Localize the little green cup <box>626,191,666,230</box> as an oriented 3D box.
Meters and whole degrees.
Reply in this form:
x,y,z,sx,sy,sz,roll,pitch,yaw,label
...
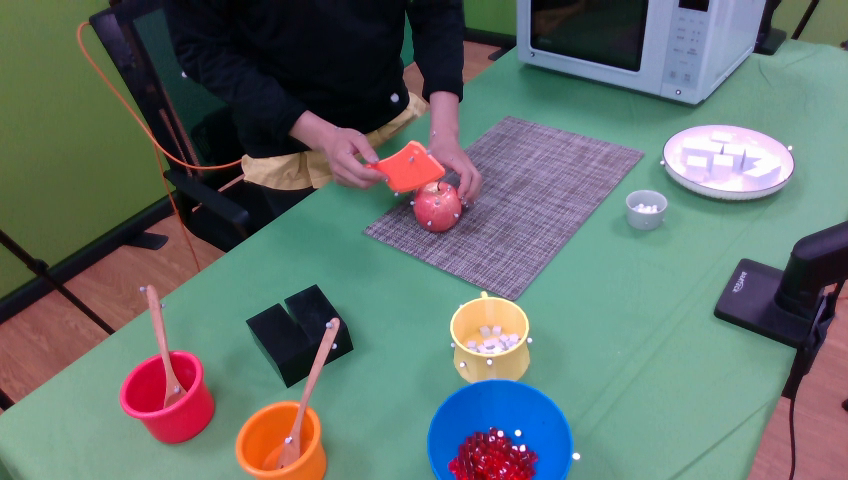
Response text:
x,y,z,sx,sy,sz,roll,pitch,yaw,label
0.352,-0.046,0.963,0.061,0.039,0.061,-4,40,4,little green cup

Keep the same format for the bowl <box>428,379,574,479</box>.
x,y,z,sx,sy,sz,roll,pitch,yaw,label
0.082,0.233,0.644,0.151,0.077,0.150,-4,39,4,bowl

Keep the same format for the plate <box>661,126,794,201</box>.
x,y,z,sx,sy,sz,roll,pitch,yaw,label
0.513,-0.128,1.035,0.207,0.039,0.206,-4,40,4,plate

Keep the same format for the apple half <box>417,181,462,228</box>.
x,y,z,sx,sy,sz,roll,pitch,yaw,label
0.031,-0.062,0.997,0.080,0.075,0.053,24,46,38,apple half

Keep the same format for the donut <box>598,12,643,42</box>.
x,y,z,sx,sy,sz,roll,pitch,yaw,label
0.437,-0.475,1.346,0.099,0.048,0.098,-15,26,8,donut

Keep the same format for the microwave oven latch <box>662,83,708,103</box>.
x,y,z,sx,sy,sz,roll,pitch,yaw,label
0.518,-0.296,1.204,0.078,0.029,0.030,27,52,35,microwave oven latch

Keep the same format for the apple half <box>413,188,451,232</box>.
x,y,z,sx,sy,sz,roll,pitch,yaw,label
0.006,-0.041,0.975,0.080,0.081,0.033,26,47,33,apple half

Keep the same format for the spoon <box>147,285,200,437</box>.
x,y,z,sx,sy,sz,roll,pitch,yaw,label
-0.318,0.148,0.754,0.042,0.021,0.193,-15,85,-11,spoon

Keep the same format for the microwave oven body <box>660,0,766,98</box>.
x,y,z,sx,sy,sz,roll,pitch,yaw,label
0.472,-0.513,1.317,0.438,0.261,0.327,26,51,34,microwave oven body

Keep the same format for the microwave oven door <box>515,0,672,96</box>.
x,y,z,sx,sy,sz,roll,pitch,yaw,label
0.344,-0.455,1.260,0.353,0.245,0.039,26,51,33,microwave oven door

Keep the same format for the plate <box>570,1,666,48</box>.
x,y,z,sx,sy,sz,roll,pitch,yaw,label
0.437,-0.485,1.369,0.209,0.038,0.208,-4,42,4,plate

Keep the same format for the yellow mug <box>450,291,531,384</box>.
x,y,z,sx,sy,sz,roll,pitch,yaw,label
0.085,0.120,0.786,0.100,0.064,0.130,-7,39,1,yellow mug

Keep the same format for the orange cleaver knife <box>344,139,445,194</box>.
x,y,z,sx,sy,sz,roll,pitch,yaw,label
-0.050,-0.105,0.942,0.210,0.077,0.012,-9,33,48,orange cleaver knife

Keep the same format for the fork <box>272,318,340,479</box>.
x,y,z,sx,sy,sz,roll,pitch,yaw,label
-0.131,0.186,0.676,0.028,0.019,0.207,17,90,28,fork
